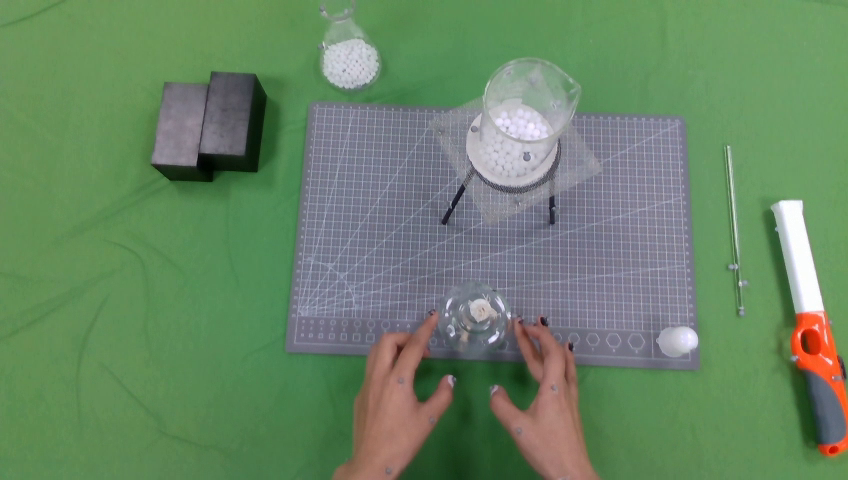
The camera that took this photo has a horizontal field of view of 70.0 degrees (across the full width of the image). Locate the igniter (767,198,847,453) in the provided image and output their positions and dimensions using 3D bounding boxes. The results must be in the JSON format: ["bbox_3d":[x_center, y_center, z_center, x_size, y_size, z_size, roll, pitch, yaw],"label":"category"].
[{"bbox_3d":[0.419,0.087,0.661,0.057,0.025,0.275,-1,76,-11],"label":"igniter"}]

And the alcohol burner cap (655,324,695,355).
[{"bbox_3d":[0.270,0.104,0.645,0.034,0.048,0.033,0,75,0],"label":"alcohol burner cap"}]

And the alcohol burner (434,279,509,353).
[{"bbox_3d":[0.050,0.075,0.614,0.078,0.119,0.077,1,75,-2],"label":"alcohol burner"}]

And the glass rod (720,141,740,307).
[{"bbox_3d":[0.352,-0.021,0.697,0.008,0.008,0.198,2,76,0],"label":"glass rod"}]

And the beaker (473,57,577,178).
[{"bbox_3d":[0.083,-0.102,0.529,0.084,0.100,0.073,-18,78,-5],"label":"beaker"}]

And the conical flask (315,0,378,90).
[{"bbox_3d":[-0.093,-0.230,0.684,0.075,0.122,0.075,0,76,0],"label":"conical flask"}]

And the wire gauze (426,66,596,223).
[{"bbox_3d":[0.083,-0.092,0.576,0.125,0.011,0.121,-26,81,-8],"label":"wire gauze"}]

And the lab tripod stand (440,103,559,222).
[{"bbox_3d":[0.082,-0.072,0.639,0.148,0.132,0.147,0,78,0],"label":"lab tripod stand"}]
